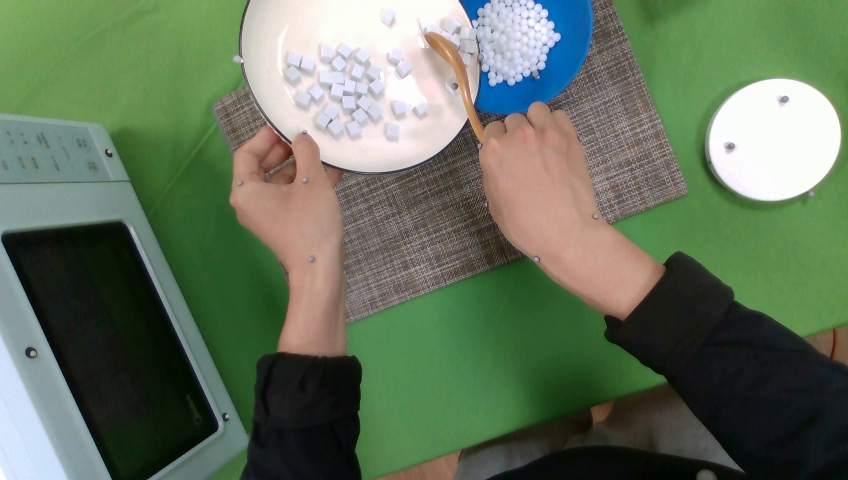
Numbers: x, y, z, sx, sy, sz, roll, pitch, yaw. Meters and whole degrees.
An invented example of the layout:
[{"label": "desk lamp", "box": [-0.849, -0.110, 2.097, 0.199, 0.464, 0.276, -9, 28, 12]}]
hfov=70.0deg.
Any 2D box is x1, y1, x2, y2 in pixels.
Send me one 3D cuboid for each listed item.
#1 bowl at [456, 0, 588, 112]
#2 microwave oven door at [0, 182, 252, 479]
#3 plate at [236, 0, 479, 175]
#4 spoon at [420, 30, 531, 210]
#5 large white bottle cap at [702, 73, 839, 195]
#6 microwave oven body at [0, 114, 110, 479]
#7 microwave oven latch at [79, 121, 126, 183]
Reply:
[{"label": "bowl", "box": [0.082, -0.198, 0.588, 0.151, 0.077, 0.151, 2, 98, 15]}, {"label": "microwave oven door", "box": [-0.328, 0.108, 0.634, 0.039, 0.244, 0.355, -25, 90, 16]}, {"label": "plate", "box": [-0.055, -0.156, 0.532, 0.210, 0.038, 0.208, 2, 84, -17]}, {"label": "spoon", "box": [0.043, -0.106, 0.524, 0.041, 0.022, 0.192, -32, 65, 20]}, {"label": "large white bottle cap", "box": [0.327, -0.099, 0.574, 0.114, 0.018, 0.115, 2, 98, 13]}, {"label": "microwave oven body", "box": [-0.472, 0.129, 0.679, 0.326, 0.260, 0.441, -25, 91, 15]}, {"label": "microwave oven latch", "box": [-0.393, -0.103, 0.728, 0.030, 0.029, 0.079, -24, 92, 15]}]
